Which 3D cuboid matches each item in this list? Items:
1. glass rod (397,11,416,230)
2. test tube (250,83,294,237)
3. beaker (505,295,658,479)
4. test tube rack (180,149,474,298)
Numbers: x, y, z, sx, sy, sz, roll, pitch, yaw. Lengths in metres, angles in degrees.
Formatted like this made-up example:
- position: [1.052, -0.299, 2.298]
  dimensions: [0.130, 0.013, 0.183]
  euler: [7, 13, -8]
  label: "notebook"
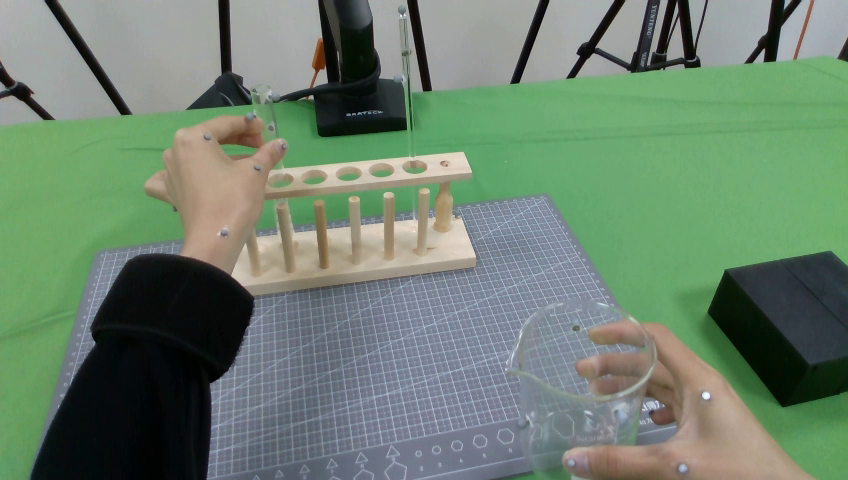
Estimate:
- position: [-0.014, -0.093, 0.523]
  dimensions: [0.008, 0.201, 0.008]
  euler: [-2, 34, 1]
  label: "glass rod"
- position: [-0.126, -0.060, 0.507]
  dimensions: [0.017, 0.151, 0.017]
  euler: [1, 41, 0]
  label: "test tube"
- position: [0.090, 0.095, 0.363]
  dimensions: [0.084, 0.101, 0.073]
  euler: [-12, 38, -6]
  label: "beaker"
- position: [-0.079, -0.016, 0.534]
  dimensions: [0.243, 0.086, 0.066]
  euler: [-7, 41, -9]
  label: "test tube rack"
